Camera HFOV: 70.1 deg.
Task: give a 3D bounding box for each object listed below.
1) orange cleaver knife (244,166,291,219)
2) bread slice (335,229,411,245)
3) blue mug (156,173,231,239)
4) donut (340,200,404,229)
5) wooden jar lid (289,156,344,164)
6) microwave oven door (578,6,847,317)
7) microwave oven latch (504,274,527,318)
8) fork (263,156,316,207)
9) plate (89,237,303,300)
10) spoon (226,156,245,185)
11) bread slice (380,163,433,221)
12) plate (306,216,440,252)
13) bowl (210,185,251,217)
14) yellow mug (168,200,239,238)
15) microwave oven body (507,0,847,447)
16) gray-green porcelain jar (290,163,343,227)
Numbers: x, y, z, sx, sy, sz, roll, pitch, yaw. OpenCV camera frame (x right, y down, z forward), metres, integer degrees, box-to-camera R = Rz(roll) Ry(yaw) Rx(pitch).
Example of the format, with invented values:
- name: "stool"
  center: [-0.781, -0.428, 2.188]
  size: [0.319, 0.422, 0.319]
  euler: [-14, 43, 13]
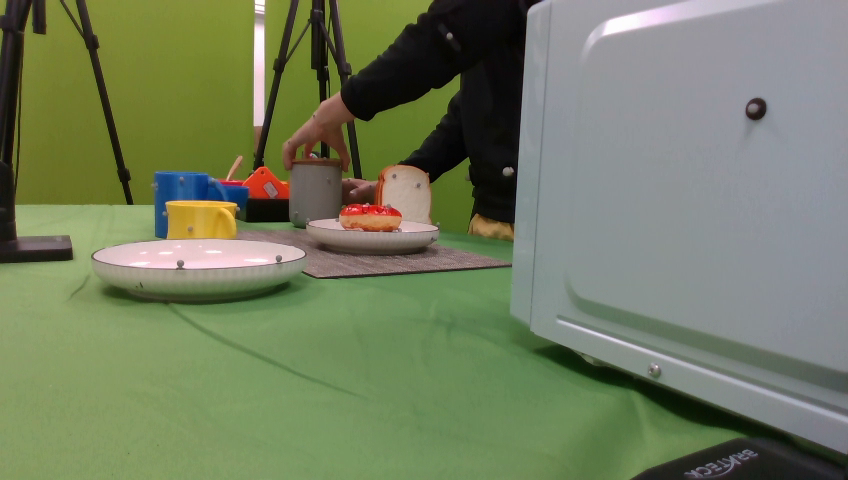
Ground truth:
- name: "orange cleaver knife"
  center: [-0.301, -0.089, 1.351]
  size: [0.212, 0.077, 0.012]
  euler: [32, -11, -34]
- name: "bread slice"
  center: [-0.074, -0.006, 0.938]
  size: [0.105, 0.019, 0.131]
  euler: [-1, 5, -19]
- name: "blue mug"
  center: [-0.381, -0.057, 1.004]
  size: [0.117, 0.106, 0.082]
  euler: [0, 8, -12]
- name: "donut"
  center: [-0.081, -0.038, 0.945]
  size: [0.099, 0.048, 0.099]
  euler: [1, 5, 0]
- name: "wooden jar lid"
  center: [-0.215, -0.154, 1.212]
  size: [0.108, 0.020, 0.108]
  euler: [-1, 4, 0]
- name: "microwave oven door"
  center: [0.294, -0.067, 0.570]
  size: [0.358, 0.243, 0.039]
  euler: [-3, 9, -31]
- name: "microwave oven latch"
  center: [0.100, 0.041, 0.471]
  size: [0.079, 0.029, 0.030]
  euler: [-1, 8, -28]
- name: "fork"
  center: [-0.331, -0.144, 1.505]
  size: [0.207, 0.018, 0.028]
  euler: [-42, -20, 22]
- name: "plate"
  center: [-0.233, 0.029, 0.637]
  size: [0.208, 0.039, 0.207]
  euler: [2, 7, 0]
- name: "spoon"
  center: [-0.477, -0.145, 1.492]
  size: [0.041, 0.022, 0.193]
  euler: [0, 51, 13]
- name: "bread slice"
  center: [-0.035, -0.076, 1.125]
  size: [0.107, 0.134, 0.018]
  euler: [-4, 2, -25]
- name: "plate"
  center: [-0.079, -0.011, 0.950]
  size: [0.209, 0.038, 0.209]
  euler: [2, 8, 0]
- name: "bowl"
  center: [-0.408, -0.064, 1.155]
  size: [0.151, 0.077, 0.151]
  euler: [2, 8, 0]
- name: "yellow mug"
  center: [-0.320, -0.023, 0.904]
  size: [0.130, 0.064, 0.100]
  euler: [9, 11, 36]
- name: "microwave oven body"
  center: [0.331, -0.042, 0.425]
  size: [0.444, 0.260, 0.324]
  euler: [-2, 8, -31]
- name: "gray-green porcelain jar"
  center: [-0.217, -0.091, 1.221]
  size: [0.106, 0.126, 0.106]
  euler: [2, 7, 0]
